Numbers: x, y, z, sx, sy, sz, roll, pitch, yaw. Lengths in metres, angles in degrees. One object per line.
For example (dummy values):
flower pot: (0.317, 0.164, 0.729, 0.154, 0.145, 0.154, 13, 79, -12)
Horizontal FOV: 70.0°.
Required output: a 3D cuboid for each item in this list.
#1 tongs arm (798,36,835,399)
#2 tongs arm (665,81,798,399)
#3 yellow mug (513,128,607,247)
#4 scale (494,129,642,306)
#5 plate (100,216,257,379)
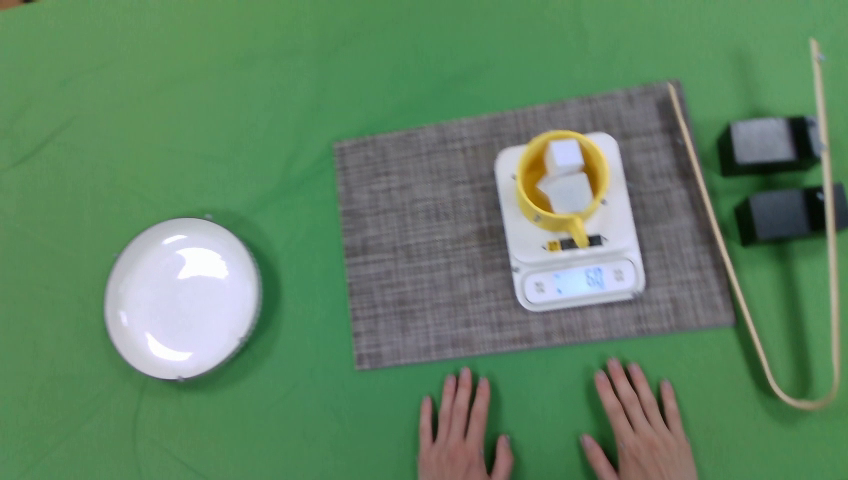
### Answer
tongs arm: (0.411, -0.024, 0.651, 0.050, 0.027, 0.384, -6, 85, 32)
tongs arm: (0.345, -0.009, 0.696, 0.028, 0.028, 0.385, -20, 77, 27)
yellow mug: (0.157, -0.055, 0.684, 0.100, 0.064, 0.130, -19, 78, 4)
scale: (0.170, -0.028, 0.726, 0.148, 0.032, 0.200, -9, 78, 7)
plate: (-0.310, 0.073, 0.778, 0.207, 0.039, 0.206, -2, 79, 8)
